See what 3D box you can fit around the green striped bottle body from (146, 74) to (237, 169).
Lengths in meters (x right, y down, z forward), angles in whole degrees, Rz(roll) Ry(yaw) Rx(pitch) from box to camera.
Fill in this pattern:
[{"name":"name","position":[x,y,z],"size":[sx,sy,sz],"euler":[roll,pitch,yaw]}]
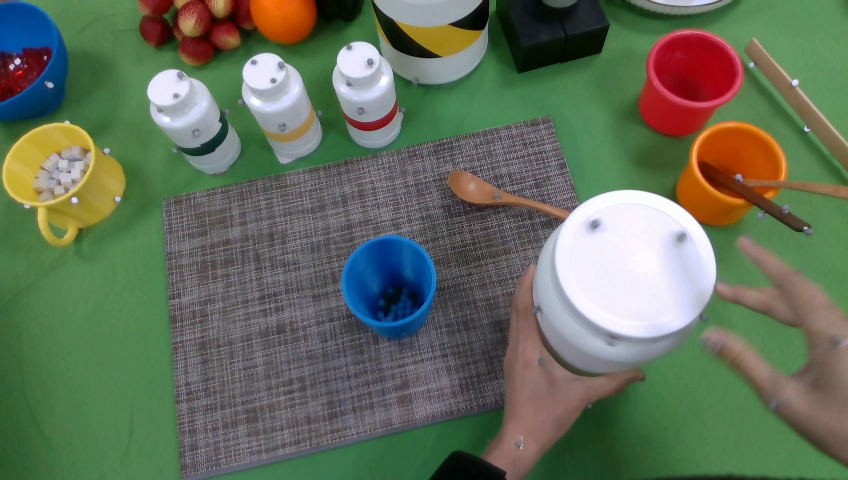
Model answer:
[{"name":"green striped bottle body","position":[-0.250,-0.130,0.649],"size":[0.063,0.120,0.062],"euler":[-1,69,3]}]

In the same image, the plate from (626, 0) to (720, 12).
[{"name":"plate","position":[0.301,-0.364,0.750],"size":[0.209,0.038,0.207],"euler":[-1,70,2]}]

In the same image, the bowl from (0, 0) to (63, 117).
[{"name":"bowl","position":[-0.486,-0.198,0.708],"size":[0.151,0.077,0.150],"euler":[-1,70,2]}]

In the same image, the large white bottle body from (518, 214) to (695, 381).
[{"name":"large white bottle body","position":[0.155,0.045,0.524],"size":[0.130,0.186,0.129],"euler":[-1,69,3]}]

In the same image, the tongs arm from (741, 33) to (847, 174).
[{"name":"tongs arm","position":[0.471,-0.080,0.637],"size":[0.051,0.027,0.382],"euler":[-25,71,-8]}]

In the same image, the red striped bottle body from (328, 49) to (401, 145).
[{"name":"red striped bottle body","position":[-0.064,-0.158,0.650],"size":[0.063,0.120,0.062],"euler":[-2,68,6]}]

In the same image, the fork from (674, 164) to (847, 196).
[{"name":"fork","position":[0.332,-0.054,0.575],"size":[0.028,0.019,0.205],"euler":[-51,31,-14]}]

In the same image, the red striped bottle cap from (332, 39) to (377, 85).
[{"name":"red striped bottle cap","position":[-0.069,-0.177,0.601],"size":[0.044,0.018,0.044],"euler":[0,67,-1]}]

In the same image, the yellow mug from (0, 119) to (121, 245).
[{"name":"yellow mug","position":[-0.397,-0.058,0.658],"size":[0.100,0.064,0.130],"euler":[-3,70,1]}]

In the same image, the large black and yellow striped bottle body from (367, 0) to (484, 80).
[{"name":"large black and yellow striped bottle body","position":[0.001,-0.278,0.656],"size":[0.131,0.185,0.130],"euler":[-1,69,3]}]

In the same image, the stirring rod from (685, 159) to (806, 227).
[{"name":"stirring rod","position":[0.302,-0.049,0.583],"size":[0.014,0.006,0.174],"euler":[-11,26,-4]}]

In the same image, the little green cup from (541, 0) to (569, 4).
[{"name":"little green cup","position":[0.149,-0.298,0.680],"size":[0.061,0.039,0.061],"euler":[-1,68,2]}]

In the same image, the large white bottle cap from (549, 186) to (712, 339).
[{"name":"large white bottle cap","position":[0.150,0.015,0.444],"size":[0.115,0.018,0.114],"euler":[-1,70,2]}]

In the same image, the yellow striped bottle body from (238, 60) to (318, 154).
[{"name":"yellow striped bottle body","position":[-0.158,-0.148,0.650],"size":[0.063,0.121,0.062],"euler":[-1,69,4]}]

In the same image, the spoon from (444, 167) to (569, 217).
[{"name":"spoon","position":[0.112,-0.039,0.645],"size":[0.193,0.022,0.041],"euler":[17,46,9]}]

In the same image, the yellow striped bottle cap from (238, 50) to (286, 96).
[{"name":"yellow striped bottle cap","position":[-0.161,-0.166,0.602],"size":[0.044,0.019,0.044],"euler":[-1,71,2]}]

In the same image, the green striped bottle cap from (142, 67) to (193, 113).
[{"name":"green striped bottle cap","position":[-0.254,-0.149,0.600],"size":[0.044,0.020,0.044],"euler":[-1,68,2]}]

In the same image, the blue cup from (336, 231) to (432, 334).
[{"name":"blue cup","position":[-0.033,0.050,0.577],"size":[0.092,0.101,0.092],"euler":[0,69,2]}]
